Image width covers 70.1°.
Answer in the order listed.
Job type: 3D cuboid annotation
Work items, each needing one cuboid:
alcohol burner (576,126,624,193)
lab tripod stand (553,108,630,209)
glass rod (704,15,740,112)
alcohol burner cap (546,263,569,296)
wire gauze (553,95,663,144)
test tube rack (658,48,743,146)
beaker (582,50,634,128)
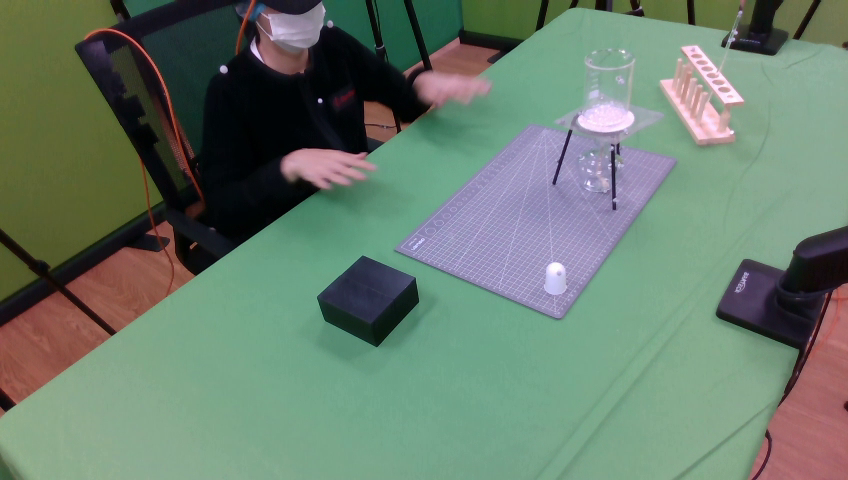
[{"bbox_3d":[0.298,-0.140,1.019,0.078,0.119,0.077,-3,40,3],"label":"alcohol burner"},{"bbox_3d":[0.292,-0.144,1.010,0.148,0.132,0.147,-5,38,4],"label":"lab tripod stand"},{"bbox_3d":[0.549,-0.319,1.117,0.008,0.200,0.008,-2,47,3],"label":"glass rod"},{"bbox_3d":[0.191,0.053,0.862,0.034,0.048,0.033,-5,40,4],"label":"alcohol burner cap"},{"bbox_3d":[0.293,-0.191,0.964,0.125,0.011,0.120,-29,45,-29],"label":"wire gauze"},{"bbox_3d":[0.532,-0.284,1.180,0.067,0.085,0.241,-5,40,4],"label":"test tube rack"},{"bbox_3d":[0.285,-0.234,0.939,0.084,0.101,0.073,-29,43,-23],"label":"beaker"}]
